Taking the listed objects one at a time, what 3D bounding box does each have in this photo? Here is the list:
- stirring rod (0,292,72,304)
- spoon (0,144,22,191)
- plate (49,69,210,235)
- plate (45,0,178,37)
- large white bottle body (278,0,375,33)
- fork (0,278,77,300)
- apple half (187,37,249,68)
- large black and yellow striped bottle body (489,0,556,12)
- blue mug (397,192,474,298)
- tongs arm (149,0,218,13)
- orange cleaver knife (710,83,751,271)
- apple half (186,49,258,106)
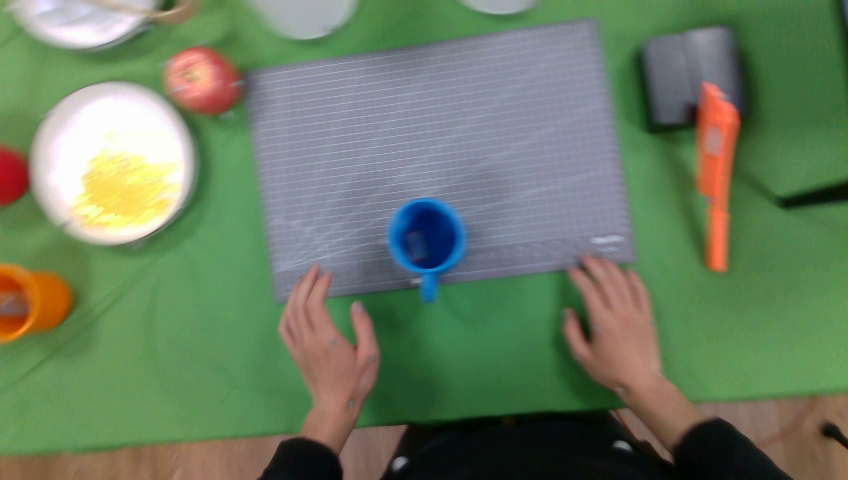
[{"bbox_3d":[-0.524,0.069,0.726,0.177,0.006,0.014,4,75,-35],"label":"stirring rod"},{"bbox_3d":[-0.532,-0.141,0.733,0.041,0.021,0.195,15,134,6],"label":"spoon"},{"bbox_3d":[-0.369,-0.110,0.771,0.209,0.038,0.209,0,89,6],"label":"plate"},{"bbox_3d":[-0.395,-0.362,0.781,0.207,0.039,0.207,0,89,5],"label":"plate"},{"bbox_3d":[-0.129,-0.330,0.683,0.130,0.185,0.130,0,87,6],"label":"large white bottle body"},{"bbox_3d":[-0.534,0.050,0.725,0.209,0.018,0.028,13,87,-38],"label":"fork"},{"bbox_3d":[-0.255,-0.229,0.746,0.081,0.081,0.033,-21,91,5],"label":"apple half"},{"bbox_3d":[0.114,-0.348,0.662,0.130,0.184,0.130,0,87,6],"label":"large black and yellow striped bottle body"},{"bbox_3d":[0.015,0.008,0.697,0.082,0.106,0.116,2,88,6],"label":"blue mug"},{"bbox_3d":[-0.435,-0.351,0.752,0.384,0.026,0.050,23,87,7],"label":"tongs arm"},{"bbox_3d":[0.339,-0.066,0.682,0.012,0.076,0.213,-6,118,5],"label":"orange cleaver knife"},{"bbox_3d":[-0.242,-0.193,0.745,0.081,0.074,0.053,-20,90,1],"label":"apple half"}]
